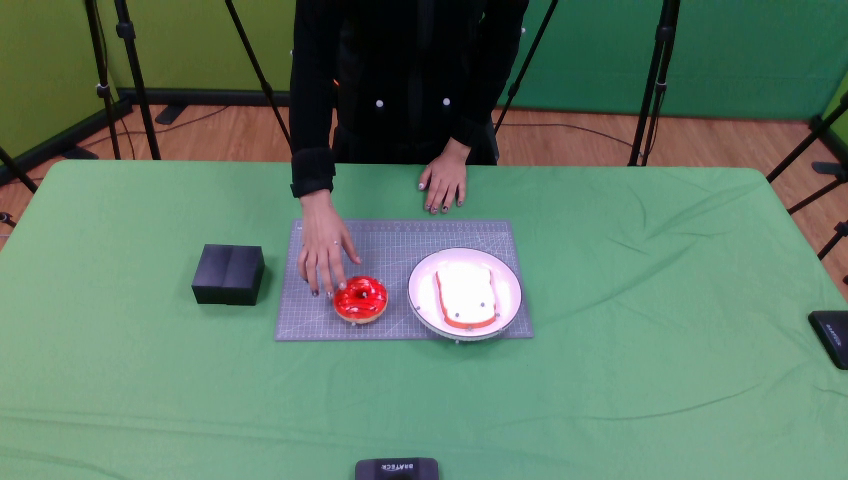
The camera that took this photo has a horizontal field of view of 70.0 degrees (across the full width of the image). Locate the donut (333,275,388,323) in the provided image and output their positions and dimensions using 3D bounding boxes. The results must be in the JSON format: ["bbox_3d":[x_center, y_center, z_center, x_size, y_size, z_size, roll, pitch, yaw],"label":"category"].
[{"bbox_3d":[-0.112,0.103,1.072,0.099,0.048,0.098,0,45,0],"label":"donut"}]

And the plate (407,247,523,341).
[{"bbox_3d":[0.073,0.099,1.093,0.209,0.038,0.208,2,46,-2],"label":"plate"}]

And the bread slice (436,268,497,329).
[{"bbox_3d":[0.081,0.102,1.091,0.105,0.019,0.130,-3,46,-5],"label":"bread slice"}]
